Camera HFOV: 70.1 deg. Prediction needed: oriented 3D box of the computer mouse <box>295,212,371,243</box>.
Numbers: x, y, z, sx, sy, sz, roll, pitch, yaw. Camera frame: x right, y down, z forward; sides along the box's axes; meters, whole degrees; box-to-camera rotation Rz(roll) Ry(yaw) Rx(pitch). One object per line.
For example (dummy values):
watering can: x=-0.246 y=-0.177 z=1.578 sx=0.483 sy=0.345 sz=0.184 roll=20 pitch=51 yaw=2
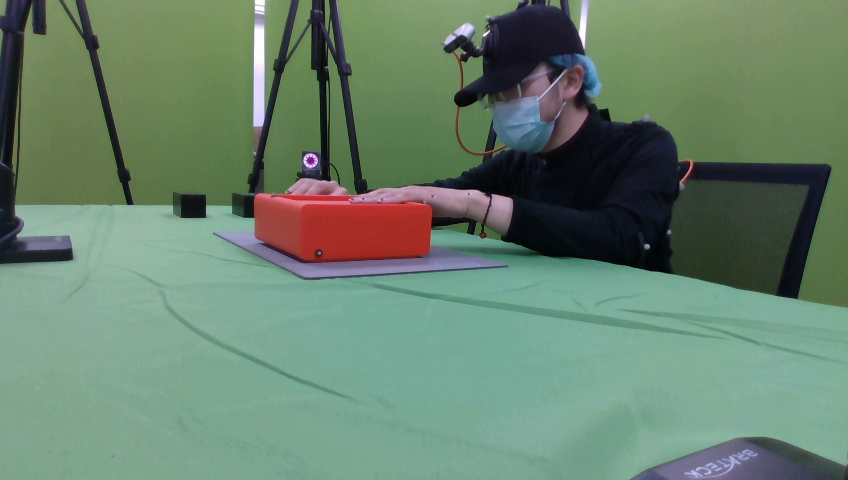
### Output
computer mouse: x=-0.143 y=-0.019 z=0.948 sx=0.117 sy=0.041 sz=0.062 roll=-6 pitch=15 yaw=-2

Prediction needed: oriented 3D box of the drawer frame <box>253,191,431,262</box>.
drawer frame: x=-0.129 y=-0.026 z=0.911 sx=0.203 sy=0.082 sz=0.212 roll=-1 pitch=9 yaw=-32

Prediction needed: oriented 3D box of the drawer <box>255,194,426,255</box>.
drawer: x=-0.131 y=-0.027 z=0.912 sx=0.195 sy=0.073 sz=0.210 roll=-1 pitch=8 yaw=-31
